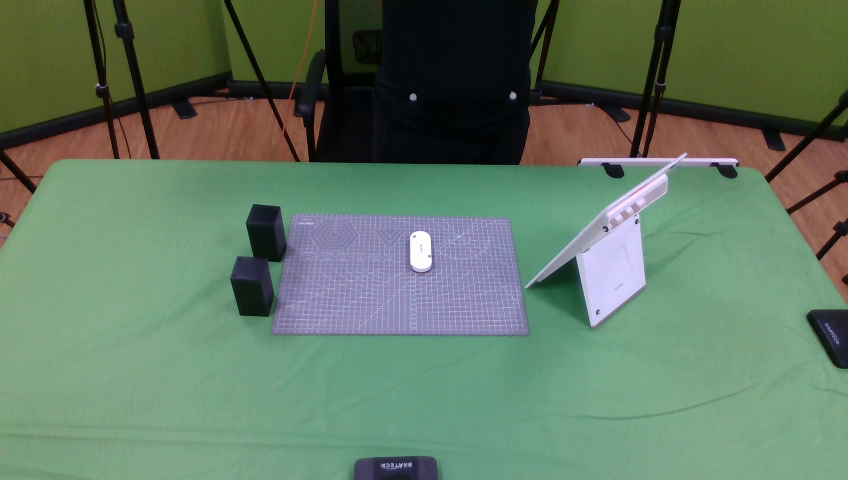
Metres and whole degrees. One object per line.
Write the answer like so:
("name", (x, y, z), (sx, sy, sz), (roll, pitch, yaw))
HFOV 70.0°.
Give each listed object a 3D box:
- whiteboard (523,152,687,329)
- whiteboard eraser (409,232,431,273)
("whiteboard", (0.346, 0.025, 1.046), (0.217, 0.306, 0.143), (-30, 74, -29))
("whiteboard eraser", (-0.009, 0.023, 1.173), (0.041, 0.019, 0.100), (1, 45, -2))
